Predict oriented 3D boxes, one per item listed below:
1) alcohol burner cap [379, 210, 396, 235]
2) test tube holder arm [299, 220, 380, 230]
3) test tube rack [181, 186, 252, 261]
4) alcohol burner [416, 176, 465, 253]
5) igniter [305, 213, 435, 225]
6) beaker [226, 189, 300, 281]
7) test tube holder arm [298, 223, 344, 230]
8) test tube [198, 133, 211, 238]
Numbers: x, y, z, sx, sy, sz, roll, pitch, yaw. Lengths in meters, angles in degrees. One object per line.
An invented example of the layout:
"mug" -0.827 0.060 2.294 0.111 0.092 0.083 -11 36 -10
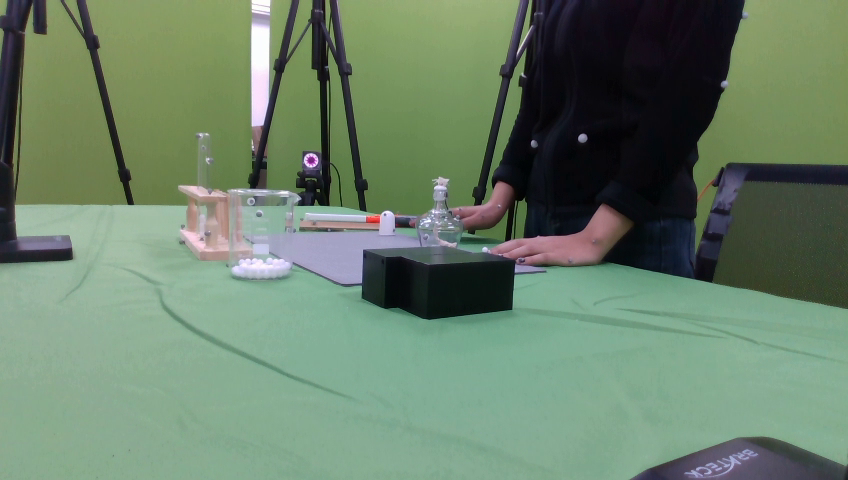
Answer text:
"alcohol burner cap" -0.067 -0.033 1.129 0.034 0.048 0.034 1 8 0
"test tube holder arm" -0.153 -0.028 1.174 0.179 0.015 0.013 1 -27 -21
"test tube rack" -0.312 -0.031 0.893 0.067 0.085 0.241 -1 8 -27
"alcohol burner" 0.025 -0.040 0.935 0.078 0.119 0.078 1 6 0
"igniter" -0.114 -0.046 1.296 0.277 0.025 0.057 1 -2 -11
"beaker" -0.184 -0.007 0.694 0.084 0.100 0.073 -1 8 -29
"test tube holder arm" -0.197 -0.026 1.163 0.088 0.015 0.010 0 -27 -19
"test tube" -0.316 -0.078 0.871 0.017 0.150 0.017 2 3 0
